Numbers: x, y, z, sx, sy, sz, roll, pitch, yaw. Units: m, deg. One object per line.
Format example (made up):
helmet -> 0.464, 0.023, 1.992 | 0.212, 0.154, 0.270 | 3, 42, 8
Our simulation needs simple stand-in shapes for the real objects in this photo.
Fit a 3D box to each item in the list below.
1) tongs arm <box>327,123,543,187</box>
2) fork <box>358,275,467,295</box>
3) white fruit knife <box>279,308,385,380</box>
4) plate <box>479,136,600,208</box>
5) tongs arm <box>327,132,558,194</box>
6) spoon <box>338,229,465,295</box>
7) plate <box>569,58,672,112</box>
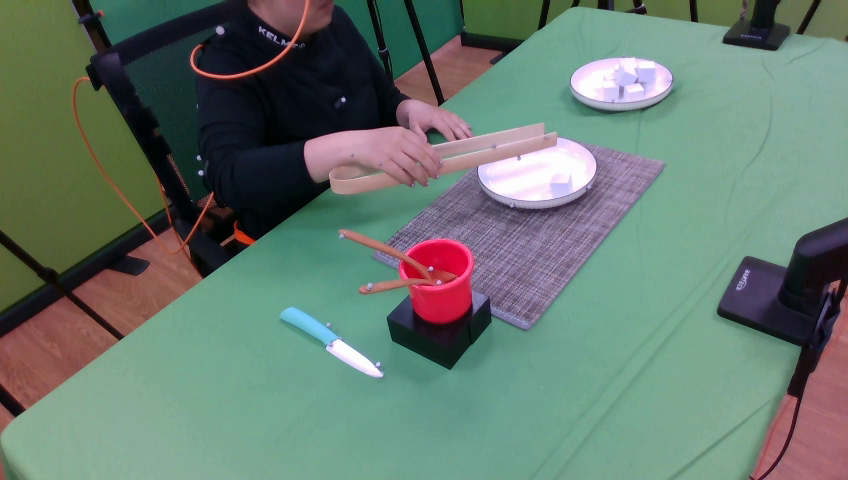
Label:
tongs arm -> 0.027, -0.145, 1.003 | 0.389, 0.028, 0.028 | -15, 38, -15
fork -> -0.009, 0.056, 0.739 | 0.028, 0.018, 0.209 | 48, 23, 26
white fruit knife -> -0.130, 0.143, 0.845 | 0.205, 0.016, 0.027 | 25, 79, 32
plate -> 0.202, -0.117, 1.065 | 0.207, 0.039, 0.206 | -5, 40, 5
tongs arm -> 0.037, -0.130, 0.977 | 0.386, 0.026, 0.050 | -16, 35, -16
spoon -> -0.025, 0.026, 0.776 | 0.021, 0.195, 0.041 | -41, 34, 32
plate -> 0.411, -0.323, 1.274 | 0.209, 0.038, 0.208 | -5, 41, 5
